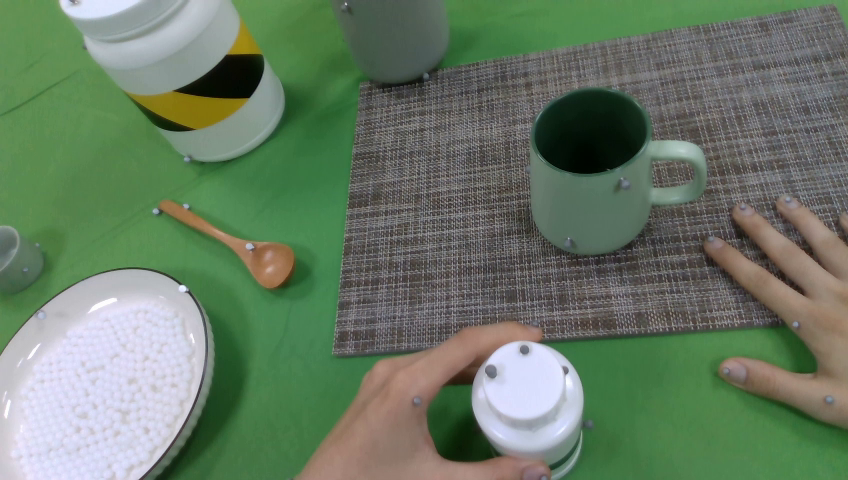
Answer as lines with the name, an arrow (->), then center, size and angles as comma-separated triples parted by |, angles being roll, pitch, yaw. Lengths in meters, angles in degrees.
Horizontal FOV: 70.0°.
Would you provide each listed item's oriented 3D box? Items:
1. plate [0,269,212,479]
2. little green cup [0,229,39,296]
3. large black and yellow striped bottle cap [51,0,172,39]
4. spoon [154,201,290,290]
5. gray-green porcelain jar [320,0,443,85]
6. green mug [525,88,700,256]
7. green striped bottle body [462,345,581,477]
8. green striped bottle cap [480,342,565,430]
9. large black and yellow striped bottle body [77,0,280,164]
plate -> -0.266, 0.123, 0.498 | 0.209, 0.038, 0.207 | -6, 59, 11
little green cup -> -0.415, 0.024, 0.594 | 0.061, 0.039, 0.061 | -6, 59, 11
large black and yellow striped bottle cap -> -0.254, -0.214, 0.505 | 0.115, 0.019, 0.114 | -6, 58, 10
spoon -> -0.192, -0.003, 0.561 | 0.192, 0.022, 0.041 | 25, 87, 25
gray-green porcelain jar -> -0.041, -0.225, 0.586 | 0.106, 0.128, 0.105 | -7, 55, 10
green mug -> 0.136, -0.047, 0.447 | 0.125, 0.106, 0.092 | 2, 60, 16
green striped bottle body -> 0.061, 0.105, 0.372 | 0.063, 0.120, 0.062 | -8, 60, 14
green striped bottle cap -> 0.053, 0.078, 0.325 | 0.044, 0.020, 0.044 | -6, 59, 10
large black and yellow striped bottle body -> -0.233, -0.174, 0.575 | 0.130, 0.186, 0.129 | -6, 59, 11
